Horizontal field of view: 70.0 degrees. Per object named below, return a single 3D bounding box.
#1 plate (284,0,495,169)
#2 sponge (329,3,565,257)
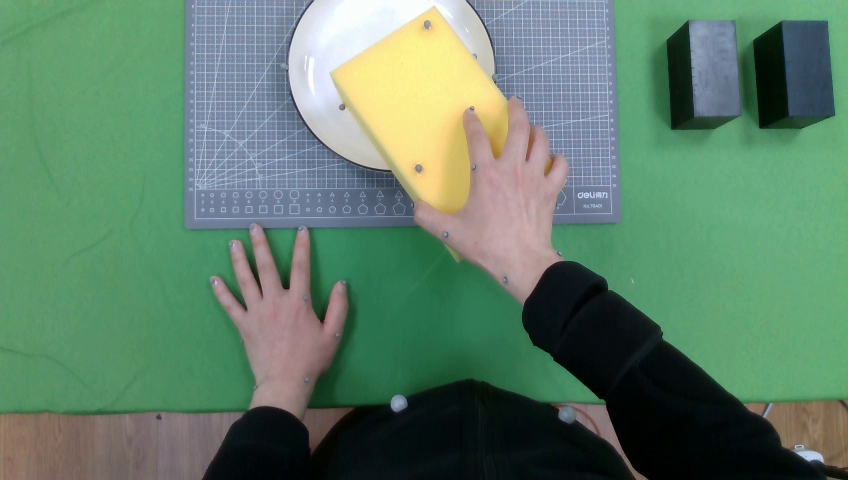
[{"bbox_3d":[-0.033,-0.172,0.617,0.209,0.038,0.208,0,86,-4],"label":"plate"},{"bbox_3d":[0.020,-0.102,0.569,0.118,0.061,0.206,-35,81,-4],"label":"sponge"}]
